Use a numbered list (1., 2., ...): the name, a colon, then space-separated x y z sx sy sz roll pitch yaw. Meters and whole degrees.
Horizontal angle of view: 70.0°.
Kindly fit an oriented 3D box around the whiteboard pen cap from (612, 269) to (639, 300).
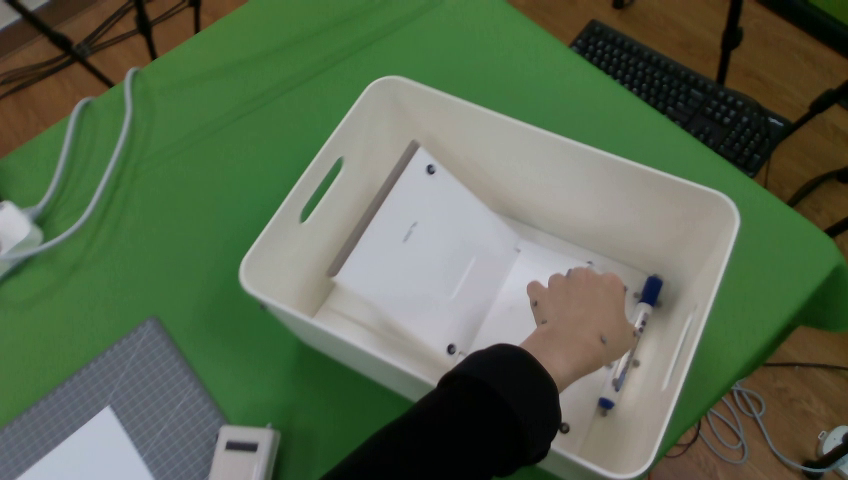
1. whiteboard pen cap: 0.210 0.047 0.633 0.018 0.018 0.033 26 68 18

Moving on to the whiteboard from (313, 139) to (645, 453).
1. whiteboard: 0.050 0.034 0.593 0.304 0.145 0.216 22 64 16

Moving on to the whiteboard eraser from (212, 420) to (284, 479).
1. whiteboard eraser: -0.169 0.228 0.566 0.055 0.042 0.112 2 64 8

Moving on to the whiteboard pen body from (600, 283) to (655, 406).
1. whiteboard pen body: 0.208 0.101 0.609 0.017 0.017 0.140 24 67 17

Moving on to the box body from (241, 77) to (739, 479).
1. box body: 0.059 0.036 0.578 0.362 0.162 0.253 23 67 16

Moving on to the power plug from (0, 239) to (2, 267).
1. power plug: -0.492 0.018 0.684 0.035 0.053 0.072 -35 71 -12

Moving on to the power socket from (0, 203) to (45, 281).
1. power socket: -0.547 0.045 0.701 0.071 0.033 0.226 40 72 21
